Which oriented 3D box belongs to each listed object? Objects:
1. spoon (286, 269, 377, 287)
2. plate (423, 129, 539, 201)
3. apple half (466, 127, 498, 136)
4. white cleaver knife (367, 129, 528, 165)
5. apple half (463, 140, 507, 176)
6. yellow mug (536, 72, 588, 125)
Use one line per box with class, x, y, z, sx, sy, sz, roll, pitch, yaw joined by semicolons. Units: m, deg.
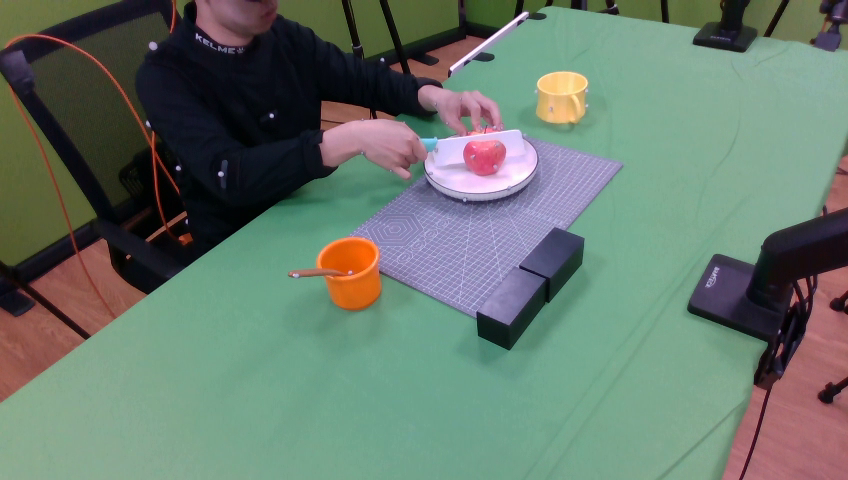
spoon;-0.125;0.049;0.831;0.041;0.195;0.021;22;92;28
plate;0.103;-0.132;1.092;0.209;0.038;0.208;-4;40;4
apple half;0.109;-0.167;1.090;0.081;0.075;0.053;-4;33;7
white cleaver knife;0.038;-0.156;1.065;0.286;0.066;0.021;-3;45;10
apple half;0.107;-0.138;1.060;0.081;0.081;0.032;-2;45;7
yellow mug;0.285;-0.281;1.222;0.100;0.064;0.130;-16;42;-9
